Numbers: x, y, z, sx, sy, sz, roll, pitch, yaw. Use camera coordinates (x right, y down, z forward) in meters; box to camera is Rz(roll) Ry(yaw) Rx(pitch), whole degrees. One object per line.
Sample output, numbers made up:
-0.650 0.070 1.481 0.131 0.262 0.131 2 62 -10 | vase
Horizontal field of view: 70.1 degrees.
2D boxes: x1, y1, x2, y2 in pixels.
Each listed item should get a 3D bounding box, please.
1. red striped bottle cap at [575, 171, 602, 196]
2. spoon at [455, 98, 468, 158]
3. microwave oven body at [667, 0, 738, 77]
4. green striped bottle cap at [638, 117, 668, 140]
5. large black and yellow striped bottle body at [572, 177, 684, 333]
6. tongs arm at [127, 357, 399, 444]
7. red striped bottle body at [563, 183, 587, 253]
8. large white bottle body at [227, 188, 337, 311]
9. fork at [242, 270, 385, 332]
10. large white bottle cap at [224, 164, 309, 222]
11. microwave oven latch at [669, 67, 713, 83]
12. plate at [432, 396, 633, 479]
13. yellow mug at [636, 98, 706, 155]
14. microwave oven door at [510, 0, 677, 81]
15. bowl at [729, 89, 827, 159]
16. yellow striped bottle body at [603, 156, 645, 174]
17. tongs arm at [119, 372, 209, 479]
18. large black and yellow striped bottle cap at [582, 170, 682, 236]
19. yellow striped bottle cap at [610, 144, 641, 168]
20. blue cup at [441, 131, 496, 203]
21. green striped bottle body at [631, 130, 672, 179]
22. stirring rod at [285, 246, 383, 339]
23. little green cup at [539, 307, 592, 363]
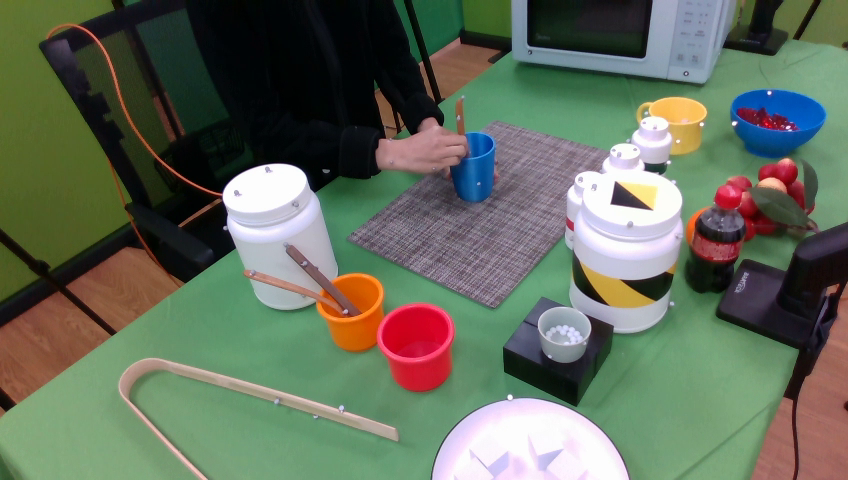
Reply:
0.242 -0.081 0.876 0.044 0.018 0.044 -5 44 5 | red striped bottle cap
0.066 -0.149 0.988 0.042 0.195 0.021 -30 45 -14 | spoon
0.462 -0.552 1.368 0.439 0.261 0.326 14 45 26 | microwave oven body
0.369 -0.180 0.974 0.044 0.020 0.044 -4 41 4 | green striped bottle cap
0.262 0.017 0.788 0.131 0.185 0.130 -5 40 4 | large black and yellow striped bottle body
-0.213 0.205 0.755 0.382 0.026 0.051 12 46 23 | tongs arm
0.246 -0.041 0.910 0.063 0.120 0.062 -2 38 2 | red striped bottle body
-0.207 -0.002 0.883 0.130 0.185 0.130 -4 40 4 | large white bottle body
-0.142 0.082 0.802 0.209 0.018 0.028 28 38 -26 | fork
-0.216 -0.066 0.829 0.115 0.018 0.114 -4 40 4 | large white bottle cap
0.556 -0.349 1.261 0.078 0.029 0.030 16 46 27 | microwave oven latch
0.112 0.261 0.634 0.209 0.038 0.208 -5 40 4 | plate
0.453 -0.217 1.128 0.100 0.064 0.129 -34 46 -27 | yellow mug
0.354 -0.478 1.290 0.353 0.245 0.039 15 45 25 | microwave oven door
0.615 -0.197 1.069 0.151 0.077 0.150 -5 40 5 | bowl
0.313 -0.089 0.956 0.063 0.121 0.062 -4 40 4 | yellow striped bottle body
-0.258 0.257 0.700 0.384 0.028 0.028 24 55 34 | tongs arm
0.252 -0.048 0.735 0.115 0.019 0.114 -3 40 3 | large black and yellow striped bottle cap
0.307 -0.128 0.923 0.044 0.019 0.044 -6 40 5 | yellow striped bottle cap
0.084 -0.121 1.039 0.092 0.101 0.092 -5 41 5 | blue cup
0.375 -0.140 1.007 0.063 0.120 0.063 -5 40 4 | green striped bottle body
-0.121 0.071 0.819 0.176 0.006 0.014 44 52 -6 | stirring rod
0.168 0.115 0.721 0.061 0.039 0.061 -4 42 4 | little green cup
